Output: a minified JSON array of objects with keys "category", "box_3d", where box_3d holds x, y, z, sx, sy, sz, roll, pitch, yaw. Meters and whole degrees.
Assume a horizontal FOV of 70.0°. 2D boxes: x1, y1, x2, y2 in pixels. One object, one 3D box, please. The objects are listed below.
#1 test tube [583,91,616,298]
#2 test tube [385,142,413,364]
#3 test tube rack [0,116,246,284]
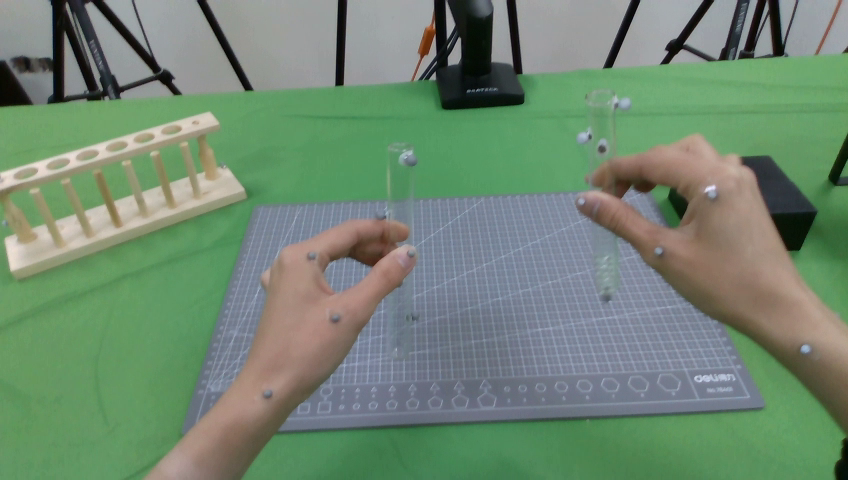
[{"category":"test tube","box_3d":[0.105,-0.019,0.359,0.017,0.152,0.017,-9,41,8]},{"category":"test tube","box_3d":[-0.016,0.014,0.374,0.017,0.151,0.017,1,26,0]},{"category":"test tube rack","box_3d":[-0.327,-0.049,0.650,0.243,0.086,0.066,-24,44,-24]}]
